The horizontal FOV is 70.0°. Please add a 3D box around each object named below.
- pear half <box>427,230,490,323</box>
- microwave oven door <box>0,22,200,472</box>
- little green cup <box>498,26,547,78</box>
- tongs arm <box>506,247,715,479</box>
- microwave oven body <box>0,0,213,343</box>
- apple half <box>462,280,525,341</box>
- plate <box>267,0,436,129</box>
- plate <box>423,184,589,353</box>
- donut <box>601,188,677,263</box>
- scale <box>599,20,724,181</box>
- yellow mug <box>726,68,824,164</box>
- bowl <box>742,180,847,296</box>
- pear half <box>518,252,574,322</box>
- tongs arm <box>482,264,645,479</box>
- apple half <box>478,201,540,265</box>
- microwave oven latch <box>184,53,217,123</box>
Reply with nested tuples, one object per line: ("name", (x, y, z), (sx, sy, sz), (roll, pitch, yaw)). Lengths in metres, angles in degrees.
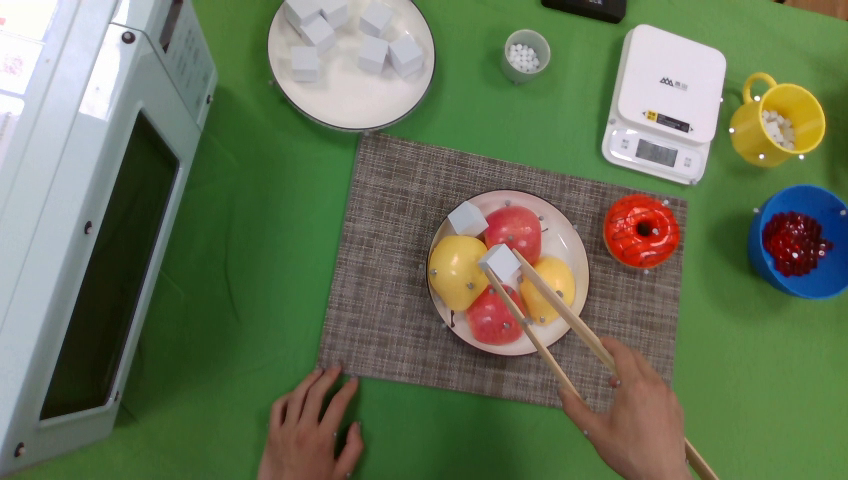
("pear half", (0.043, 0.044, 0.718), (0.077, 0.056, 0.109), (5, 85, -17))
("microwave oven door", (-0.298, 0.013, 0.567), (0.039, 0.244, 0.354), (13, 79, -7))
("little green cup", (0.129, -0.247, 0.804), (0.062, 0.038, 0.061), (2, 80, -9))
("tongs arm", (0.204, 0.157, 0.615), (0.028, 0.028, 0.385), (-31, 71, -20))
("microwave oven body", (-0.431, -0.061, 0.562), (0.327, 0.260, 0.440), (14, 80, -8))
("apple half", (0.087, 0.085, 0.732), (0.081, 0.033, 0.081), (3, 74, -11))
("plate", (-0.090, -0.237, 0.765), (0.208, 0.039, 0.207), (2, 81, -9))
("plate", (0.100, 0.035, 0.751), (0.210, 0.038, 0.208), (2, 81, -10))
("donut", (0.277, -0.018, 0.787), (0.099, 0.048, 0.098), (1, 81, -6))
("scale", (0.328, -0.192, 0.832), (0.149, 0.031, 0.200), (15, 79, -7))
("yellow mug", (0.477, -0.177, 0.838), (0.100, 0.064, 0.130), (-22, 84, -11))
("bowl", (0.483, 0.002, 0.805), (0.152, 0.077, 0.151), (1, 82, -9))
("pear half", (0.152, 0.056, 0.750), (0.070, 0.031, 0.087), (10, 77, 5))
("tongs arm", (0.184, 0.170, 0.608), (0.051, 0.027, 0.382), (-28, 70, -16))
("apple half", (0.107, -0.011, 0.742), (0.075, 0.053, 0.080), (-1, 84, -6))
("microwave oven latch", (-0.266, -0.180, 0.707), (0.030, 0.029, 0.079), (16, 80, -7))
